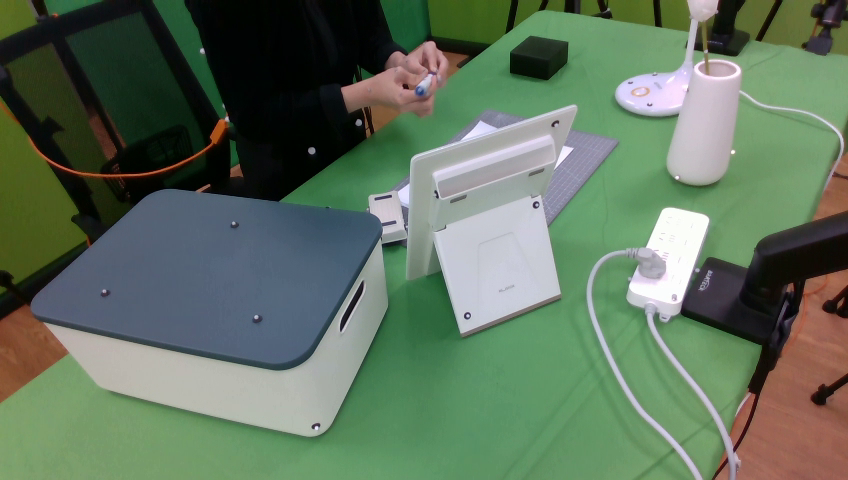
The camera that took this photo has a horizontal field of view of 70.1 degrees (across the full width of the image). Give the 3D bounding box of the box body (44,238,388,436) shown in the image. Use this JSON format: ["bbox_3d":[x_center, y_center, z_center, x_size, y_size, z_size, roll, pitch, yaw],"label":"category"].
[{"bbox_3d":[-0.251,0.088,0.799,0.362,0.161,0.254,7,42,16],"label":"box body"}]

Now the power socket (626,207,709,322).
[{"bbox_3d":[0.360,0.026,0.886,0.072,0.033,0.227,17,46,27],"label":"power socket"}]

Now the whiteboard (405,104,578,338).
[{"bbox_3d":[0.102,0.003,0.787,0.218,0.306,0.143,-19,62,-14],"label":"whiteboard"}]

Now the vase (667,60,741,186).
[{"bbox_3d":[0.463,-0.189,0.994,0.098,0.201,0.097,-4,40,4],"label":"vase"}]

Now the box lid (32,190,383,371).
[{"bbox_3d":[-0.257,0.032,0.750,0.370,0.015,0.263,7,41,16],"label":"box lid"}]

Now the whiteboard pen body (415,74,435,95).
[{"bbox_3d":[0.004,-0.257,0.989,0.017,0.017,0.140,1,23,9],"label":"whiteboard pen body"}]

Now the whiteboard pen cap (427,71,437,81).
[{"bbox_3d":[0.012,-0.280,1.043,0.018,0.018,0.033,0,26,8],"label":"whiteboard pen cap"}]

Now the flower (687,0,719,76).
[{"bbox_3d":[0.436,-0.242,0.934,0.038,0.364,0.043,-23,49,9],"label":"flower"}]

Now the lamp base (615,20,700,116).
[{"bbox_3d":[0.484,-0.364,1.211,0.180,0.181,0.159,-15,41,-14],"label":"lamp base"}]

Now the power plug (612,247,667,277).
[{"bbox_3d":[0.306,0.031,0.852,0.072,0.053,0.035,21,48,37],"label":"power plug"}]

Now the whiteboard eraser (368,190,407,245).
[{"bbox_3d":[-0.061,-0.035,1.006,0.056,0.042,0.112,-9,40,-3],"label":"whiteboard eraser"}]
